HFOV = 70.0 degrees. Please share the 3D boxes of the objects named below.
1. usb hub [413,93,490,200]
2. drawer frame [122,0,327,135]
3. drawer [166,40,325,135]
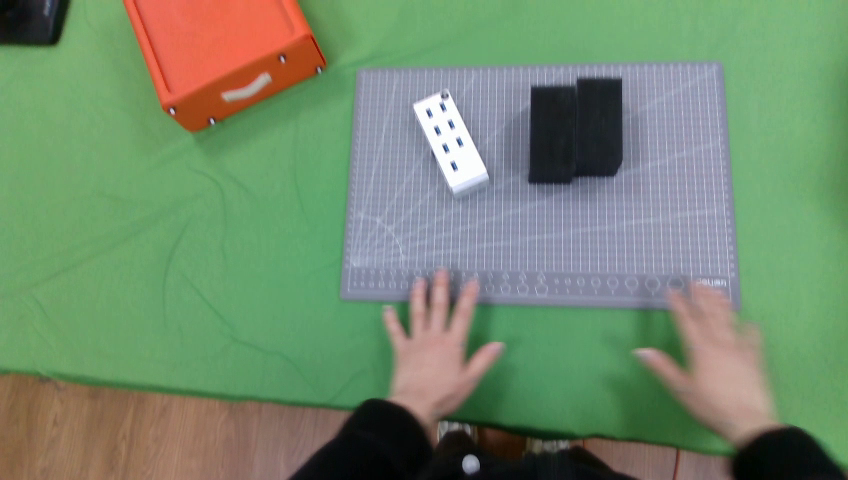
[{"bbox_3d":[0.033,-0.114,0.734,0.049,0.025,0.124,-24,75,-1],"label":"usb hub"},{"bbox_3d":[-0.260,-0.274,0.780,0.202,0.083,0.212,-27,74,0],"label":"drawer frame"},{"bbox_3d":[-0.259,-0.270,0.781,0.194,0.073,0.210,-26,74,0],"label":"drawer"}]
